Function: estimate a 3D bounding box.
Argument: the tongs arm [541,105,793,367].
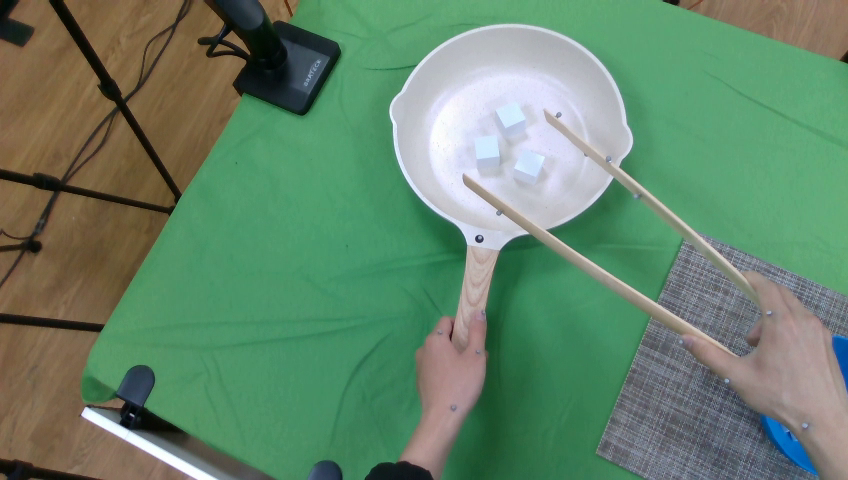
[{"bbox_3d":[0.230,-0.026,0.640,0.051,0.027,0.380,-35,55,-7],"label":"tongs arm"}]

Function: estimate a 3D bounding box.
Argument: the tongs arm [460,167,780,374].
[{"bbox_3d":[0.174,0.018,0.631,0.028,0.028,0.383,-41,56,-16],"label":"tongs arm"}]

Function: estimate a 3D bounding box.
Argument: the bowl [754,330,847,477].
[{"bbox_3d":[0.430,0.178,0.665,0.151,0.077,0.150,-1,74,4],"label":"bowl"}]

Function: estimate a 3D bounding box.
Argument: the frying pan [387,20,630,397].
[{"bbox_3d":[0.081,-0.049,0.747,0.306,0.103,0.485,11,67,9],"label":"frying pan"}]
